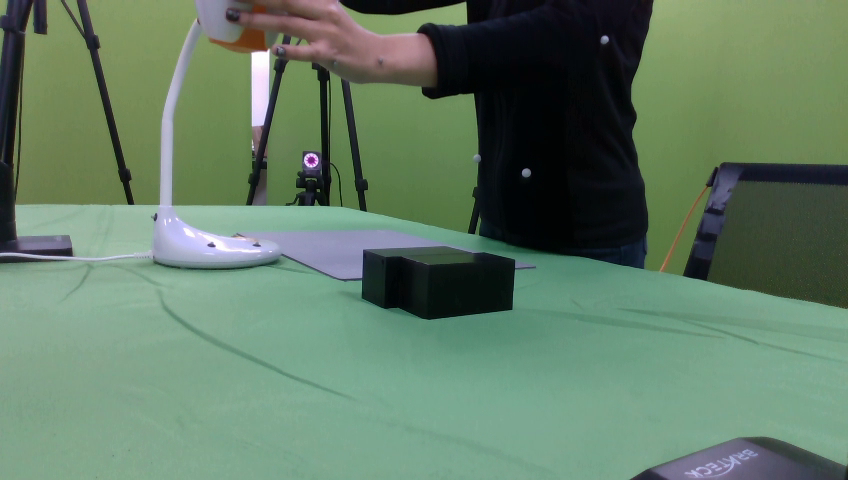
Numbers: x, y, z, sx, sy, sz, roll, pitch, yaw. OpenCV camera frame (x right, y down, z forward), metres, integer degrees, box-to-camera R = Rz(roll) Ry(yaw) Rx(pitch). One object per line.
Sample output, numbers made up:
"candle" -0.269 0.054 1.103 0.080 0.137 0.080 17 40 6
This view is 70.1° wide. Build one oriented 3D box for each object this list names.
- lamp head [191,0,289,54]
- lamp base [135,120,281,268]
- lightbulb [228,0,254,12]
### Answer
"lamp head" -0.188 -0.252 0.608 0.112 0.123 0.112 10 20 -4
"lamp base" -0.276 -0.061 0.773 0.180 0.180 0.160 -9 13 -44
"lightbulb" -0.175 -0.281 0.595 0.059 0.107 0.059 12 17 -3
